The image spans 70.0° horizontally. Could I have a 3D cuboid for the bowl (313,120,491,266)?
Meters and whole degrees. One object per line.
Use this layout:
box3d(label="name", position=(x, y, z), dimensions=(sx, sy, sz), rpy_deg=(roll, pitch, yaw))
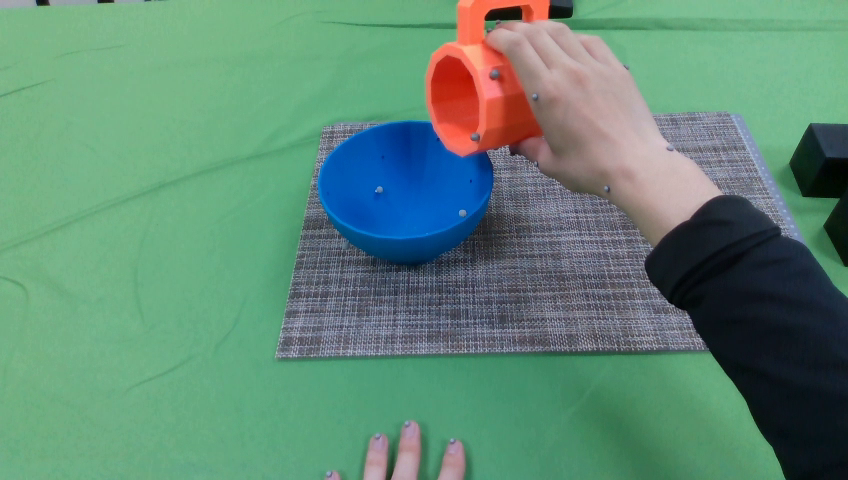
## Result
box3d(label="bowl", position=(-0.016, -0.030, 0.538), dimensions=(0.151, 0.077, 0.150), rpy_deg=(-2, 48, 2))

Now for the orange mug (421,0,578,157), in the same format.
box3d(label="orange mug", position=(0.058, -0.135, 0.484), dimensions=(0.101, 0.127, 0.082), rpy_deg=(-22, 35, -24))
